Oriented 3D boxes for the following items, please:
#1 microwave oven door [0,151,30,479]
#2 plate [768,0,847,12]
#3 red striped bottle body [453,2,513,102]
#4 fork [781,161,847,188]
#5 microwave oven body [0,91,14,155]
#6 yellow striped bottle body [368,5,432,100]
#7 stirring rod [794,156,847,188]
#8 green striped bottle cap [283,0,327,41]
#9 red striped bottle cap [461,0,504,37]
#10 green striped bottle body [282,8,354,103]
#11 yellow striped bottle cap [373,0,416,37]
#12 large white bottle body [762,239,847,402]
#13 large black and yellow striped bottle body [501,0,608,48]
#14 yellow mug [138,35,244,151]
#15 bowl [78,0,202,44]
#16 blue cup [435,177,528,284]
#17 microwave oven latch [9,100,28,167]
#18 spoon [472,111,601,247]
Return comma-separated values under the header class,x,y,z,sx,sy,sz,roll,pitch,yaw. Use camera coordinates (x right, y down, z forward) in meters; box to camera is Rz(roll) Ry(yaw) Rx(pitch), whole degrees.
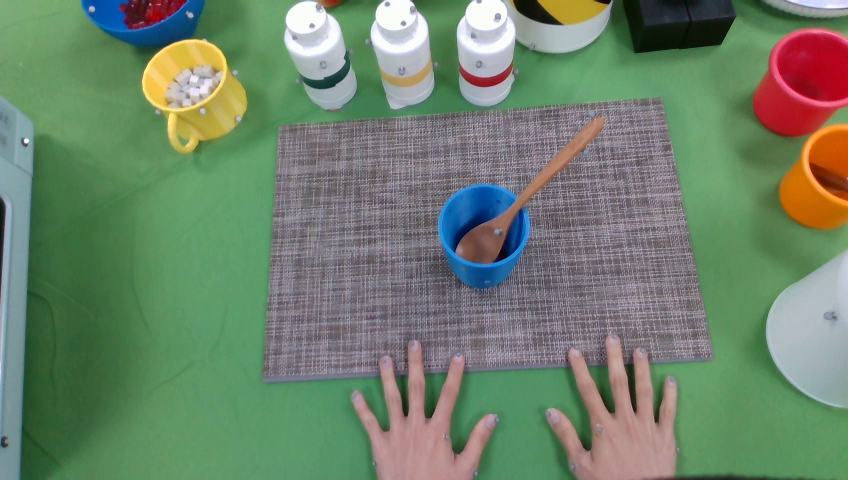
class,x,y,z,sx,sy,sz,roll,pitch,yaw
microwave oven door,-0.451,0.041,0.535,0.039,0.245,0.353,-13,69,1
plate,0.468,-0.357,0.736,0.209,0.038,0.207,-1,70,4
red striped bottle body,0.067,-0.212,0.672,0.063,0.120,0.062,-3,67,8
fork,0.436,-0.051,0.564,0.028,0.019,0.205,-38,27,-14
microwave oven body,-0.602,0.035,0.555,0.326,0.262,0.438,-12,70,-1
yellow striped bottle body,-0.027,-0.217,0.681,0.063,0.121,0.062,-2,69,5
stirring rod,0.409,-0.050,0.572,0.014,0.006,0.174,-10,26,1
green striped bottle cap,-0.126,-0.233,0.639,0.044,0.020,0.044,-1,68,4
red striped bottle cap,0.061,-0.232,0.623,0.044,0.018,0.044,0,68,1
green striped bottle body,-0.121,-0.215,0.688,0.063,0.120,0.062,-2,69,4
yellow striped bottle cap,-0.031,-0.236,0.633,0.044,0.019,0.044,-1,71,4
large white bottle body,0.387,0.060,0.507,0.130,0.186,0.129,-2,68,5
large black and yellow striped bottle body,0.151,-0.320,0.670,0.131,0.185,0.130,-2,69,5
yellow mug,-0.275,-0.167,0.711,0.100,0.064,0.130,6,70,6
bowl,-0.341,-0.302,0.761,0.151,0.077,0.150,-1,70,4
blue cup,0.055,0.000,0.598,0.092,0.101,0.092,-1,67,3
microwave oven latch,-0.484,-0.122,0.708,0.030,0.030,0.078,-12,70,0
spoon,0.090,-0.042,0.552,0.194,0.022,0.041,-49,62,33
